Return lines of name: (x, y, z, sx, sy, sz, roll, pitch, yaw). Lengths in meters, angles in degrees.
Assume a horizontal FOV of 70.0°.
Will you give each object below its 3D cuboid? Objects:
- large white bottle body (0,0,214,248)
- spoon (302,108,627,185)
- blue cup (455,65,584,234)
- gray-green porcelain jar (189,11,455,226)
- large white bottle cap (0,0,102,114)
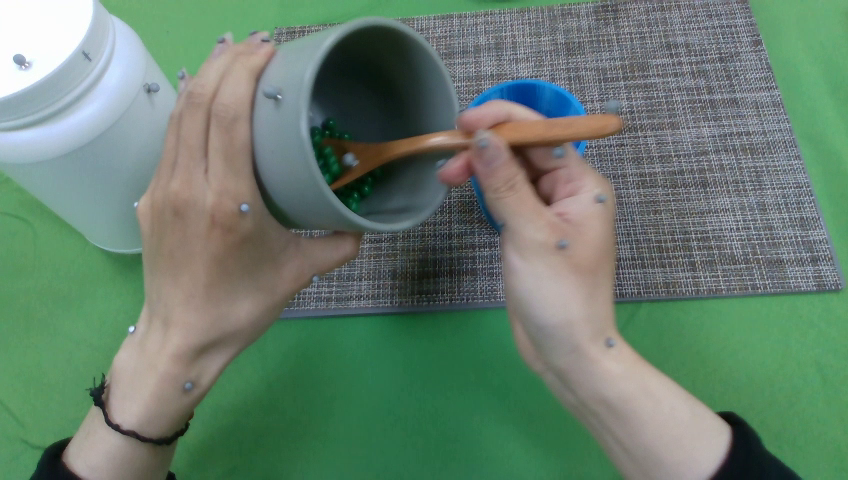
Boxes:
large white bottle body: (-0.249, -0.088, 0.450, 0.130, 0.186, 0.129, -3, 63, 6)
spoon: (0.001, -0.050, 0.308, 0.193, 0.022, 0.041, -5, 60, 20)
blue cup: (0.069, -0.053, 0.438, 0.092, 0.101, 0.092, -3, 62, 7)
gray-green porcelain jar: (-0.063, -0.061, 0.342, 0.125, 0.107, 0.105, 3, 59, 45)
large white bottle cap: (-0.259, -0.126, 0.374, 0.115, 0.018, 0.114, -3, 64, 5)
